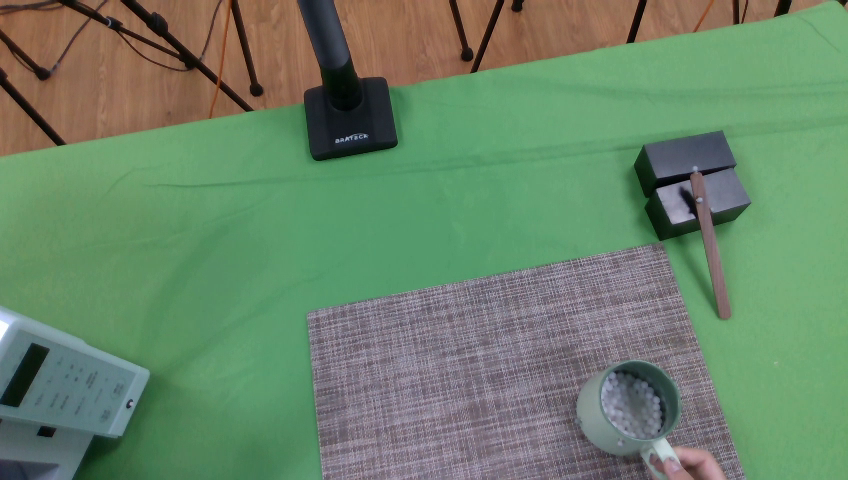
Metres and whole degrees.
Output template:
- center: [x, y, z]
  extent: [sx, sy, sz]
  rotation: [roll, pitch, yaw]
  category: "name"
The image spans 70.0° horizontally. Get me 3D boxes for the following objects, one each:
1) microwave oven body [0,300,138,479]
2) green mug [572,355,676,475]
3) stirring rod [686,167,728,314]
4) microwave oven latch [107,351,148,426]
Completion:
- center: [-0.547, 0.250, 0.566]
  extent: [0.325, 0.262, 0.439]
  rotation: [16, 71, 9]
  category: "microwave oven body"
- center: [0.216, 0.183, 0.629]
  extent: [0.092, 0.105, 0.124]
  rotation: [-27, 69, -8]
  category: "green mug"
- center: [0.333, 0.001, 0.712]
  extent: [0.014, 0.006, 0.176]
  rotation: [-13, 92, 10]
  category: "stirring rod"
- center: [-0.345, 0.169, 0.690]
  extent: [0.030, 0.030, 0.079]
  rotation: [18, 71, 10]
  category: "microwave oven latch"
